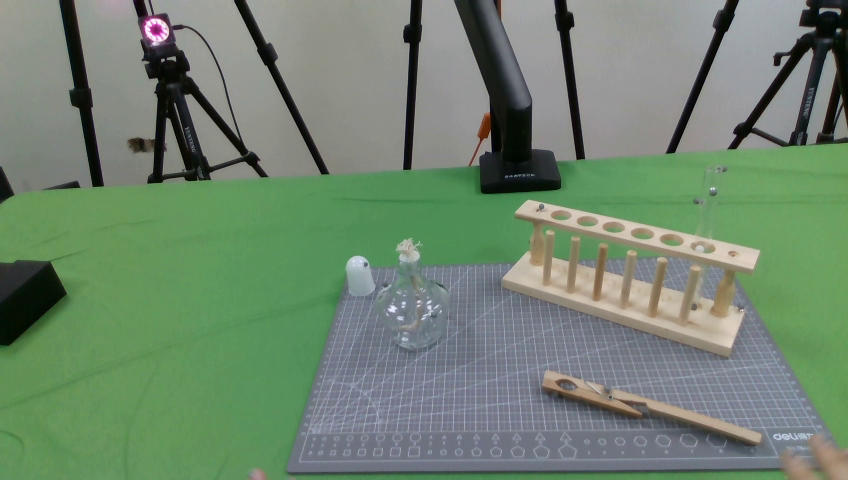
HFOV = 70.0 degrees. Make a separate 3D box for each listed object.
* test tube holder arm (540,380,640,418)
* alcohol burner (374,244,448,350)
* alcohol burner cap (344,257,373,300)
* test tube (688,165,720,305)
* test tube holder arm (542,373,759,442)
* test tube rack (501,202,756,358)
[{"bbox_3d":[0.148,0.141,0.540,0.087,0.015,0.010,11,69,23],"label":"test tube holder arm"},{"bbox_3d":[-0.015,0.054,0.614,0.078,0.120,0.077,-3,34,2],"label":"alcohol burner"},{"bbox_3d":[-0.078,0.042,0.710,0.034,0.048,0.033,-3,33,2],"label":"alcohol burner cap"},{"bbox_3d":[0.267,0.000,0.586,0.017,0.151,0.017,-4,29,3],"label":"test tube"},{"bbox_3d":[0.190,0.144,0.524,0.177,0.015,0.013,10,69,22],"label":"test tube holder arm"},{"bbox_3d":[0.202,0.034,0.636,0.240,0.086,0.066,16,38,31],"label":"test tube rack"}]
